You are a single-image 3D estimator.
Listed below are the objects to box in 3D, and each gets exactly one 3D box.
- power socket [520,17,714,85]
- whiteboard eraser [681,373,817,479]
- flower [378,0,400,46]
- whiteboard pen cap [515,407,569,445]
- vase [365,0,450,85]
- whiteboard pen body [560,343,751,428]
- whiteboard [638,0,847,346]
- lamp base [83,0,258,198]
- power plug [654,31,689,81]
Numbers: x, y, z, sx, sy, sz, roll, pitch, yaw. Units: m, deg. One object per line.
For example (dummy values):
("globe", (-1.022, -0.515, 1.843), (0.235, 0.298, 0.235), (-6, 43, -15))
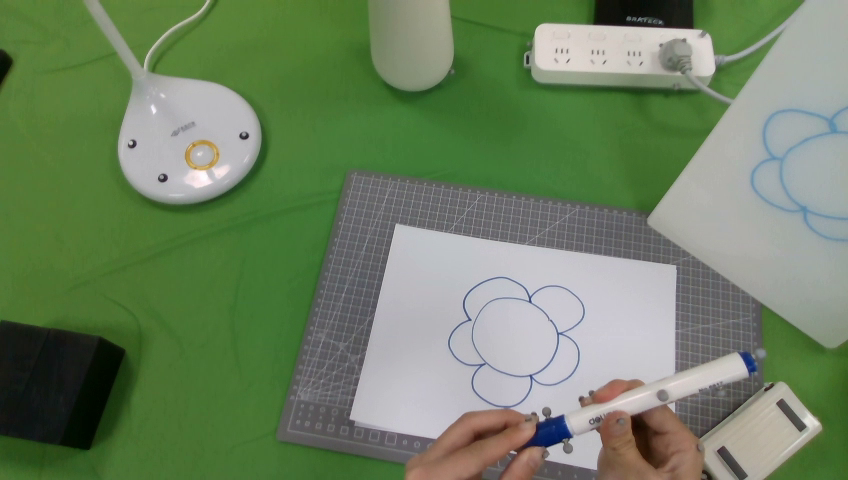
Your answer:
("power socket", (0.230, -0.225, 0.722), (0.227, 0.033, 0.071), (4, 68, 2))
("whiteboard eraser", (0.291, 0.173, 0.547), (0.113, 0.042, 0.055), (-32, 69, -11))
("flower", (-0.005, -0.281, 0.571), (0.044, 0.362, 0.038), (-32, 87, -21))
("whiteboard pen cap", (0.077, 0.120, 0.390), (0.033, 0.018, 0.018), (-24, 66, 15))
("vase", (-0.021, -0.259, 0.651), (0.098, 0.201, 0.097), (-1, 66, 2))
("whiteboard pen body", (0.130, 0.095, 0.375), (0.140, 0.017, 0.017), (-24, 67, 13))
("whiteboard", (0.386, -0.087, 0.547), (0.216, 0.307, 0.144), (39, 52, 17))
("lamp base", (-0.281, -0.157, 0.624), (0.178, 0.181, 0.160), (41, 73, 19))
("power plug", (0.278, -0.204, 0.688), (0.035, 0.053, 0.072), (13, 74, 7))
